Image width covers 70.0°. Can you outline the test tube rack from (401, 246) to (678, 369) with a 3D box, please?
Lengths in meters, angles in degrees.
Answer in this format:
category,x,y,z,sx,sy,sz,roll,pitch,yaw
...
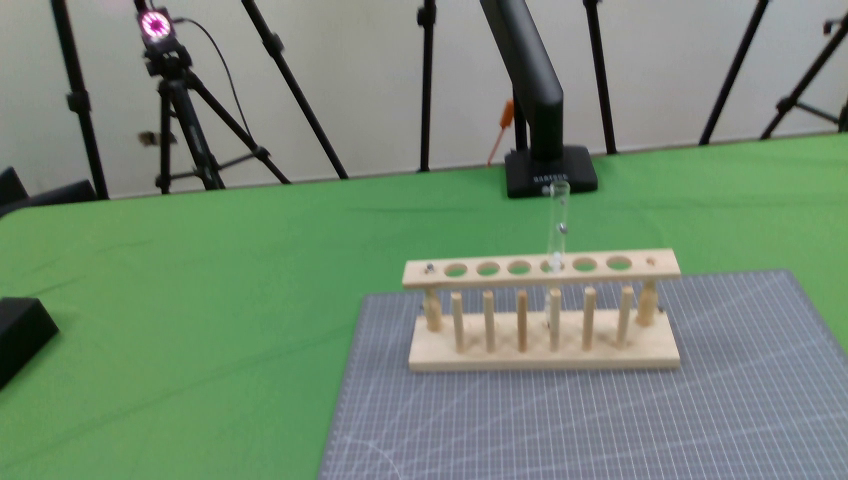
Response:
category,x,y,z,sx,sy,sz,roll,pitch,yaw
test tube rack,0.103,0.064,0.559,0.242,0.086,0.066,-3,36,9

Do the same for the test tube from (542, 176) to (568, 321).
category,x,y,z,sx,sy,sz,roll,pitch,yaw
test tube,0.117,0.013,0.543,0.017,0.151,0.017,-3,33,2
